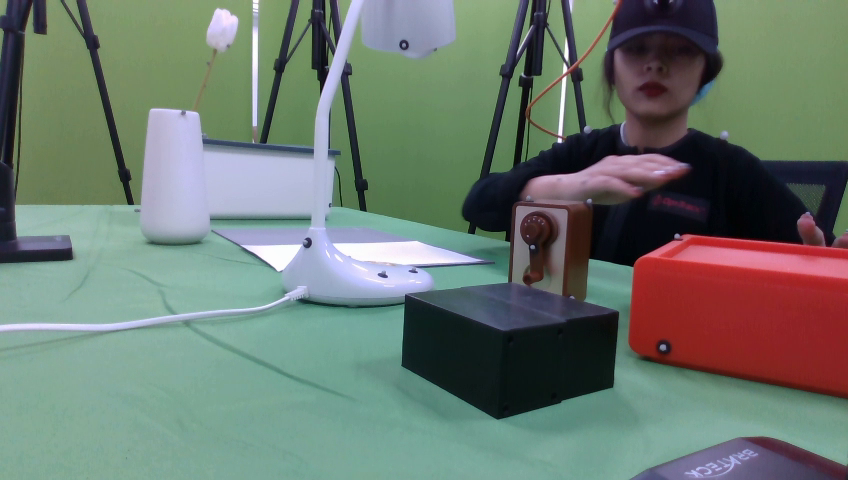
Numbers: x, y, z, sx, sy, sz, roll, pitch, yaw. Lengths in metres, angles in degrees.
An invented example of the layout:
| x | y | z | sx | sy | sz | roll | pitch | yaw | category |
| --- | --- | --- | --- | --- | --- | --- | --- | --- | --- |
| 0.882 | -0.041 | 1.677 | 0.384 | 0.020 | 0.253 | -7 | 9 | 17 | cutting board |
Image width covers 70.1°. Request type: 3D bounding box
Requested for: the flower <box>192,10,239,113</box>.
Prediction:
| x | y | z | sx | sy | sz | roll | pitch | yaw | category |
| --- | --- | --- | --- | --- | --- | --- | --- | --- | --- |
| -0.354 | -0.174 | 0.915 | 0.038 | 0.361 | 0.044 | 18 | -4 | 11 | flower |

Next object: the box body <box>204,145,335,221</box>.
| x | y | z | sx | sy | sz | roll | pitch | yaw | category |
| --- | --- | --- | --- | --- | --- | --- | --- | --- | --- |
| -0.411 | -0.135 | 1.386 | 0.366 | 0.160 | 0.253 | -2 | 9 | -29 | box body |

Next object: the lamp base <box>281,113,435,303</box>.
| x | y | z | sx | sy | sz | roll | pitch | yaw | category |
| --- | --- | --- | --- | --- | --- | --- | --- | --- | --- |
| -0.071 | -0.035 | 0.614 | 0.160 | 0.180 | 0.180 | 6 | 10 | 27 | lamp base |

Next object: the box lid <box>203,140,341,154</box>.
| x | y | z | sx | sy | sz | roll | pitch | yaw | category |
| --- | --- | --- | --- | --- | --- | --- | --- | --- | --- |
| -0.396 | -0.212 | 1.373 | 0.373 | 0.015 | 0.262 | -1 | 9 | -29 | box lid |

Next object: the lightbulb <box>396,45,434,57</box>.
| x | y | z | sx | sy | sz | roll | pitch | yaw | category |
| --- | --- | --- | --- | --- | --- | --- | --- | --- | --- |
| -0.018 | -0.265 | 0.692 | 0.059 | 0.108 | 0.059 | -10 | 27 | 6 | lightbulb |

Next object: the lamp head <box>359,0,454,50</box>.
| x | y | z | sx | sy | sz | roll | pitch | yaw | category |
| --- | --- | --- | --- | --- | --- | --- | --- | --- | --- |
| -0.024 | -0.283 | 0.674 | 0.112 | 0.123 | 0.112 | -3 | 38 | 3 | lamp head |

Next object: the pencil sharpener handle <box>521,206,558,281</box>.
| x | y | z | sx | sy | sz | roll | pitch | yaw | category |
| --- | --- | --- | --- | --- | --- | --- | --- | --- | --- |
| 0.101 | 0.003 | 0.556 | 0.036 | 0.067 | 0.031 | 0 | 5 | 31 | pencil sharpener handle |

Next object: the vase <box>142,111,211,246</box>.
| x | y | z | sx | sy | sz | roll | pitch | yaw | category |
| --- | --- | --- | --- | --- | --- | --- | --- | --- | --- |
| -0.378 | -0.093 | 0.920 | 0.098 | 0.200 | 0.098 | 2 | 9 | 0 | vase |

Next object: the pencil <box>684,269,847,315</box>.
| x | y | z | sx | sy | sz | roll | pitch | yaw | category |
| --- | --- | --- | --- | --- | --- | --- | --- | --- | --- |
| 0.307 | 0.046 | 0.517 | 0.194 | 0.012 | 0.012 | 13 | 5 | -11 | pencil |

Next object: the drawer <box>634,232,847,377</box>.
| x | y | z | sx | sy | sz | roll | pitch | yaw | category |
| --- | --- | --- | --- | --- | --- | --- | --- | --- | --- |
| 0.291 | 0.044 | 0.488 | 0.193 | 0.073 | 0.213 | 7 | 9 | 30 | drawer |

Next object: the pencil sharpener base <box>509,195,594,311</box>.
| x | y | z | sx | sy | sz | roll | pitch | yaw | category |
| --- | --- | --- | --- | --- | --- | --- | --- | --- | --- |
| 0.126 | 0.011 | 0.602 | 0.061 | 0.107 | 0.077 | 7 | 9 | 31 | pencil sharpener base |

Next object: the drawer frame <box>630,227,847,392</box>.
| x | y | z | sx | sy | sz | roll | pitch | yaw | category |
| --- | --- | --- | --- | --- | --- | --- | --- | --- | --- |
| 0.292 | 0.043 | 0.484 | 0.201 | 0.082 | 0.214 | 7 | 9 | 29 | drawer frame |
